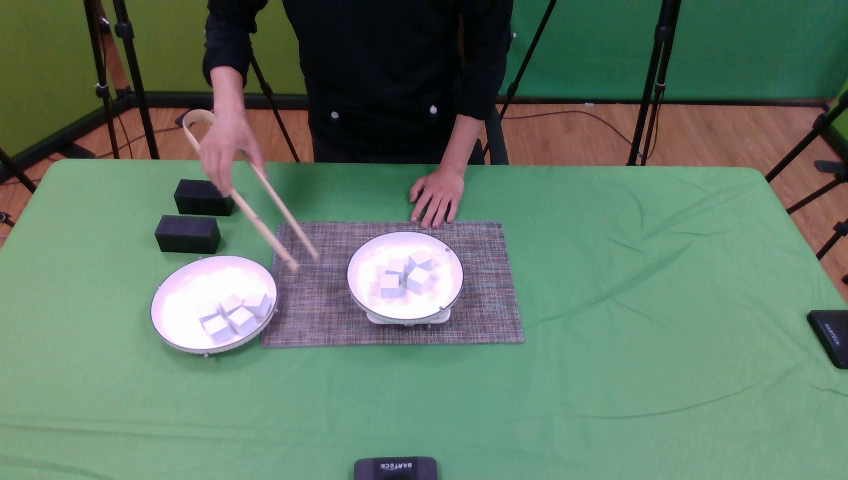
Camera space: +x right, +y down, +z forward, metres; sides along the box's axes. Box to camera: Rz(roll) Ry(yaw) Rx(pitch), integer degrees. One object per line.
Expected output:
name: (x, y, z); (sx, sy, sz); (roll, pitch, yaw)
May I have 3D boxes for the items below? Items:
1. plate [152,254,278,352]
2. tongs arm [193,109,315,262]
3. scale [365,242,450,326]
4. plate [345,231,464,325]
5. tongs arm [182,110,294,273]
plate: (-0.357, 0.111, 1.052); (0.208, 0.039, 0.206); (2, 46, -2)
tongs arm: (-0.304, -0.104, 1.077); (0.028, 0.028, 0.386); (-33, 69, -19)
scale: (-0.032, 0.071, 1.113); (0.149, 0.032, 0.199); (0, 46, -4)
plate: (-0.034, 0.069, 1.069); (0.209, 0.038, 0.208); (2, 46, -2)
tongs arm: (-0.325, -0.092, 1.067); (0.051, 0.026, 0.383); (-36, 70, -24)
